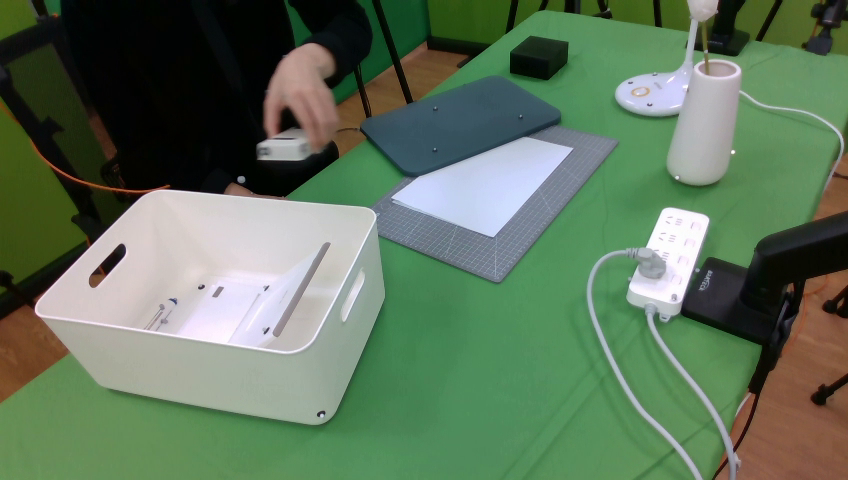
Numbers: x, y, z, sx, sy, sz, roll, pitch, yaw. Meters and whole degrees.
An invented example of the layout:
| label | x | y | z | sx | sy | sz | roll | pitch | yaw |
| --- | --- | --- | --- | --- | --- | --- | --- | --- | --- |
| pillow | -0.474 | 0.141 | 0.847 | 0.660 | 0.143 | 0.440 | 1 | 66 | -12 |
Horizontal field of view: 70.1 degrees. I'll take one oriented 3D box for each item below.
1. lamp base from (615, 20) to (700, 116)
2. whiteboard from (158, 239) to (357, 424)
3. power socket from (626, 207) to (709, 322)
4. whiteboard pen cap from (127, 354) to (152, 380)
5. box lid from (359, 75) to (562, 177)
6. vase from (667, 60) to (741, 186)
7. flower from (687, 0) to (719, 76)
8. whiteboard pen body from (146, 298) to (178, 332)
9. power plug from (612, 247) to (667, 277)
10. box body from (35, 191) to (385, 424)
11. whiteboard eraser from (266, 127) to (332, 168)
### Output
| label | x | y | z | sx | sy | sz | roll | pitch | yaw |
| --- | --- | --- | --- | --- | --- | --- | --- | --- | --- |
| lamp base | 0.484 | -0.364 | 1.211 | 0.180 | 0.181 | 0.159 | -15 | 41 | -14 |
| whiteboard | -0.242 | 0.093 | 0.809 | 0.304 | 0.144 | 0.216 | 5 | 44 | 13 |
| power socket | 0.360 | 0.026 | 0.886 | 0.072 | 0.033 | 0.227 | 17 | 46 | 27 |
| whiteboard pen cap | -0.385 | 0.172 | 0.821 | 0.018 | 0.018 | 0.033 | 8 | 42 | 17 |
| box lid | 0.074 | -0.249 | 1.267 | 0.373 | 0.015 | 0.261 | -23 | 42 | -18 |
| vase | 0.463 | -0.189 | 0.994 | 0.098 | 0.201 | 0.097 | -4 | 40 | 3 |
| flower | 0.436 | -0.242 | 0.934 | 0.038 | 0.364 | 0.043 | -24 | 49 | 8 |
| whiteboard pen body | -0.396 | 0.138 | 0.868 | 0.017 | 0.017 | 0.140 | 6 | 42 | 15 |
| power plug | 0.306 | 0.031 | 0.852 | 0.072 | 0.053 | 0.035 | 21 | 48 | 38 |
| box body | -0.254 | 0.081 | 0.807 | 0.363 | 0.161 | 0.253 | 5 | 42 | 14 |
| whiteboard eraser | -0.164 | -0.123 | 0.805 | 0.055 | 0.042 | 0.112 | 5 | 21 | 7 |
